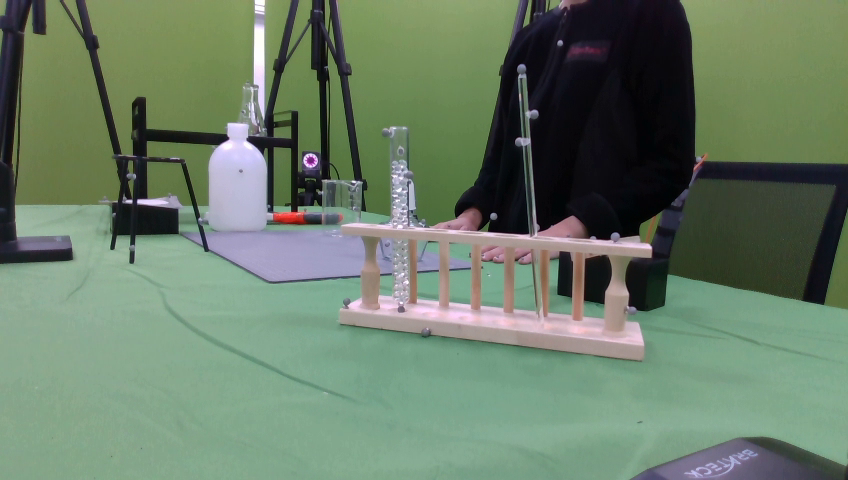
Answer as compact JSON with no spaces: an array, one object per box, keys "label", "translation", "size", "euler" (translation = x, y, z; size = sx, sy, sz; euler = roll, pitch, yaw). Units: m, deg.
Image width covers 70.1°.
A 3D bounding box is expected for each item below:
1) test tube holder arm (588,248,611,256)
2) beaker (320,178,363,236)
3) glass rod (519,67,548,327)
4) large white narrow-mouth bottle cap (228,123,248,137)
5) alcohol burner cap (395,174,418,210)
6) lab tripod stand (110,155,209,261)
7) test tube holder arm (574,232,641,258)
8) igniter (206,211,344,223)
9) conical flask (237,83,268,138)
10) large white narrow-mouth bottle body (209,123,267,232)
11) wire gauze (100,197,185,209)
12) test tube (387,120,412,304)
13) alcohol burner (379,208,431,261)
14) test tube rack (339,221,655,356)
[{"label":"test tube holder arm","translation":[0.180,0.006,0.611],"size":[0.010,0.015,0.088],"euler":[-3,2,36]},{"label":"beaker","translation":[-0.145,-0.059,1.078],"size":[0.074,0.100,0.083],"euler":[-4,10,-36]},{"label":"glass rod","translation":[0.084,-0.029,0.459],"size":[0.008,0.199,0.008],"euler":[-7,11,2]},{"label":"large white narrow-mouth bottle cap","translation":[-0.338,-0.199,1.097],"size":[0.038,0.024,0.037],"euler":[2,8,0]},{"label":"alcohol burner cap","translation":[-0.026,-0.067,0.833],"size":[0.034,0.048,0.034],"euler":[-2,12,1]},{"label":"lab tripod stand","translation":[-0.361,-0.046,0.806],"size":[0.148,0.131,0.148],"euler":[2,5,0]},{"label":"test tube holder arm","translation":[0.202,0.003,0.651],"size":[0.013,0.015,0.179],"euler":[-3,2,36]},{"label":"igniter","translation":[-0.302,-0.048,1.249],"size":[0.278,0.025,0.057],"euler":[-2,-2,-26]},{"label":"conical flask","translation":[-0.401,-0.299,1.406],"size":[0.075,0.122,0.075],"euler":[2,7,0]},{"label":"large white narrow-mouth bottle body","translation":[-0.340,-0.115,1.109],"size":[0.102,0.194,0.102],"euler":[2,8,0]},{"label":"wire gauze","translation":[-0.469,-0.062,1.008],"size":[0.126,0.011,0.121],"euler":[-2,8,-25]},{"label":"test tube","translation":[-0.019,-0.021,0.488],"size":[0.017,0.150,0.017],"euler":[-1,13,1]},{"label":"alcohol burner","translation":[-0.027,-0.031,0.838],"size":[0.078,0.119,0.078],"euler":[0,6,0]},{"label":"test tube rack","translation":[0.056,0.032,0.495],"size":[0.242,0.085,0.067],"euler":[4,7,15]}]
